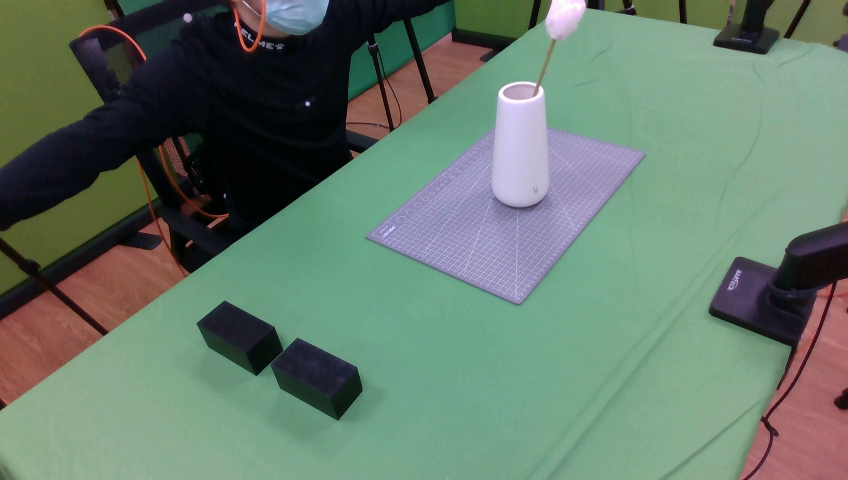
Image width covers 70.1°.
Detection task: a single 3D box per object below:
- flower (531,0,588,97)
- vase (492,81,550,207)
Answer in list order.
[{"bbox_3d":[0.163,-0.206,0.918,0.044,0.362,0.038,10,53,-5],"label":"flower"},{"bbox_3d":[0.159,-0.152,0.982,0.098,0.201,0.097,-3,41,3],"label":"vase"}]
